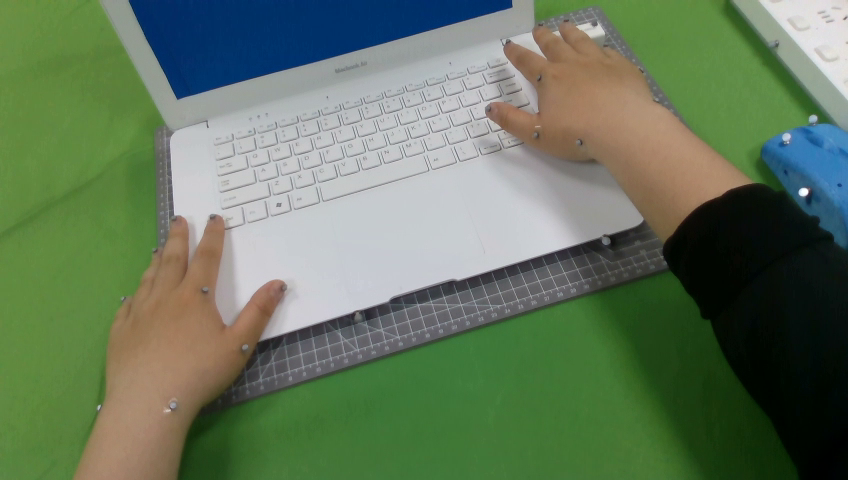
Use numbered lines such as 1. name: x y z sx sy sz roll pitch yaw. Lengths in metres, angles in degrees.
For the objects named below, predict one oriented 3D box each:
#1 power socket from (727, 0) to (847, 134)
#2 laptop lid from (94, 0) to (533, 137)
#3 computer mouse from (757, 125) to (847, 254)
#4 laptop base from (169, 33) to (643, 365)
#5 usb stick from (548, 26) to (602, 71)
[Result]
1. power socket: 0.346 -0.173 0.528 0.072 0.033 0.224 -14 56 -1
2. laptop lid: -0.085 -0.225 0.491 0.357 0.244 0.013 -18 43 -3
3. computer mouse: 0.304 -0.044 0.444 0.063 0.041 0.116 -17 51 -1
4. laptop base: -0.033 -0.049 0.505 0.354 0.023 0.233 -17 59 -3
5. usb stick: 0.130 -0.172 0.552 0.059 0.027 0.021 -18 54 -1
